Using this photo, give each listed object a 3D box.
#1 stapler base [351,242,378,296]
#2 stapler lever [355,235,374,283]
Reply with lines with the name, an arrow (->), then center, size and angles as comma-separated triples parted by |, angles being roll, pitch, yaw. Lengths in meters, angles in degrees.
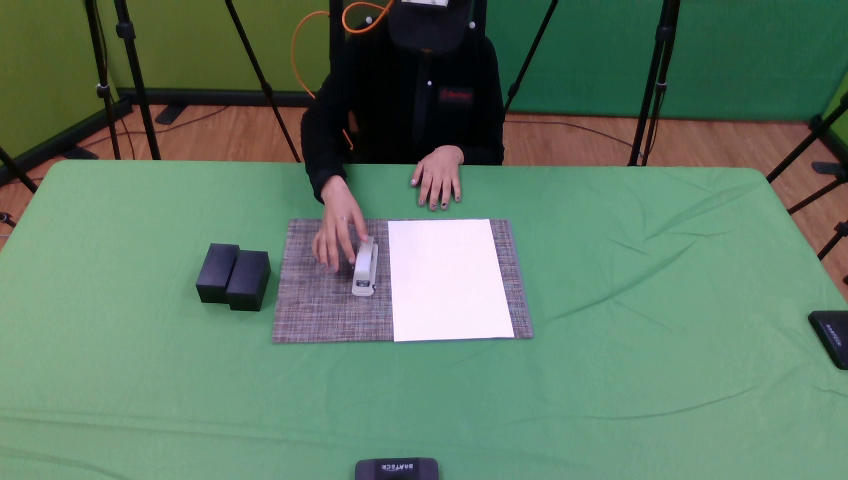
stapler base -> -0.111, 0.047, 1.139 | 0.041, 0.024, 0.130 | 5, 45, -4
stapler lever -> -0.110, 0.029, 1.122 | 0.027, 0.040, 0.117 | 5, 46, -3
